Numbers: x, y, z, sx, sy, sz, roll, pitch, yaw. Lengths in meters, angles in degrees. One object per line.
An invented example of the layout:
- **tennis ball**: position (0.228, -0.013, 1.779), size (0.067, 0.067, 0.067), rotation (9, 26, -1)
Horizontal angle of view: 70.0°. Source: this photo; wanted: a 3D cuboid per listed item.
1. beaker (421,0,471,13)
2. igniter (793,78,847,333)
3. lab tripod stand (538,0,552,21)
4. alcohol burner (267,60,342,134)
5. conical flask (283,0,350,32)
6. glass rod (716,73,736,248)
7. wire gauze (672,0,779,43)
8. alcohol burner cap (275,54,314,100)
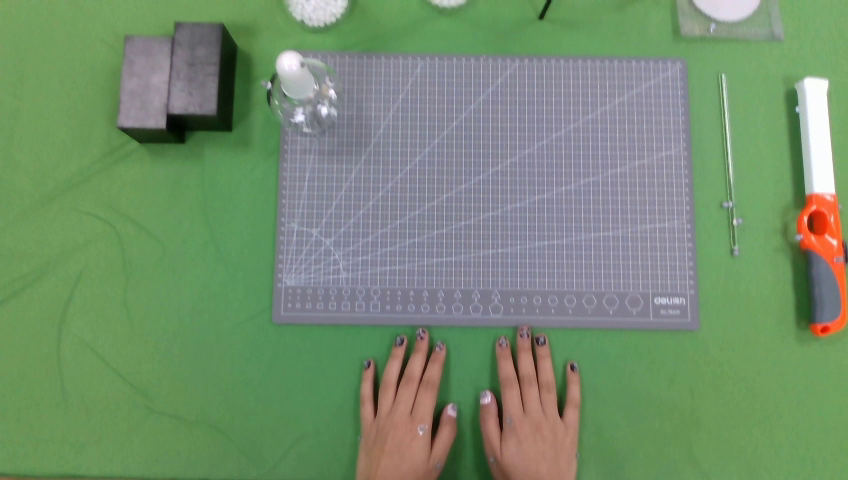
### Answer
- **beaker**: position (0.027, -0.298, 0.646), size (0.084, 0.100, 0.074), rotation (-24, 83, -5)
- **igniter**: position (0.424, -0.039, 0.652), size (0.057, 0.025, 0.275), rotation (3, 82, -11)
- **lab tripod stand**: position (0.184, -0.307, 0.632), size (0.148, 0.132, 0.148), rotation (0, 84, -1)
- **alcohol burner**: position (-0.125, -0.151, 0.613), size (0.078, 0.119, 0.077), rotation (0, 82, 2)
- **conical flask**: position (-0.120, -0.277, 0.630), size (0.075, 0.122, 0.075), rotation (0, 82, 0)
- **glass rod**: position (0.332, -0.089, 0.667), size (0.008, 0.008, 0.199), rotation (-1, 82, -1)
- **wire gauze**: position (0.344, -0.286, 0.695), size (0.125, 0.011, 0.121), rotation (-1, 82, -3)
- **alcohol burner cap**: position (-0.125, -0.159, 0.578), size (0.034, 0.048, 0.033), rotation (0, 75, -2)
